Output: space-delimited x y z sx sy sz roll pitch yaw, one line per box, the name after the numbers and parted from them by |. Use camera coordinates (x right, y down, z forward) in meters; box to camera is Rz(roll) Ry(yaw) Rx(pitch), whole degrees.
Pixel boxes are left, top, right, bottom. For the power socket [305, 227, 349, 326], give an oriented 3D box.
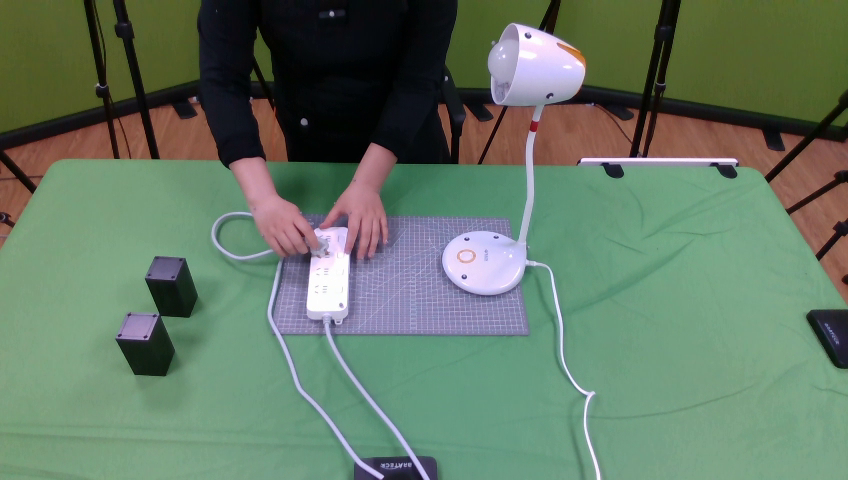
-0.176 0.058 1.115 0.072 0.033 0.225 -1 46 -4 | power socket

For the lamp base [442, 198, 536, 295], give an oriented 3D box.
0.130 -0.012 1.104 0.179 0.181 0.159 -1 46 -9 | lamp base

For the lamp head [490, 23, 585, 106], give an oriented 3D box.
0.165 -0.241 0.872 0.123 0.113 0.111 9 43 -17 | lamp head

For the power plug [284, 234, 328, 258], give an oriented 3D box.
-0.213 0.011 1.114 0.072 0.053 0.035 0 43 14 | power plug

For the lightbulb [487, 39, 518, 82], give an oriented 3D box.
0.143 -0.251 0.865 0.108 0.060 0.059 9 45 -7 | lightbulb
